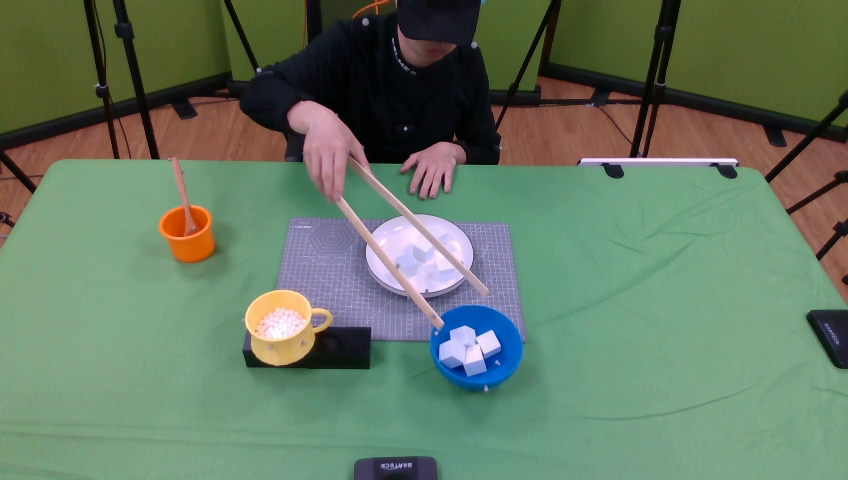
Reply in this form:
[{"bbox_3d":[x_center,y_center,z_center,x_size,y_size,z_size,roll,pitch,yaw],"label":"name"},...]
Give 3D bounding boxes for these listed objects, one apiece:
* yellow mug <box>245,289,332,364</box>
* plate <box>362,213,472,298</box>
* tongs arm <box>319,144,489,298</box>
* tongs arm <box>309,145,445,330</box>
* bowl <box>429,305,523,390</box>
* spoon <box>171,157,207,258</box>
[{"bbox_3d":[-0.210,0.133,0.954,0.131,0.064,0.099,-9,47,-14],"label":"yellow mug"},{"bbox_3d":[-0.014,0.034,1.150,0.208,0.039,0.206,3,46,-2],"label":"plate"},{"bbox_3d":[-0.037,-0.038,1.012,0.386,0.028,0.028,43,62,15],"label":"tongs arm"},{"bbox_3d":[-0.079,-0.012,0.983,0.051,0.026,0.383,-32,69,-29],"label":"tongs arm"},{"bbox_3d":[0.080,0.188,0.985,0.151,0.077,0.150,3,46,-3],"label":"bowl"},{"bbox_3d":[-0.444,-0.061,1.133,0.042,0.194,0.021,-12,4,-19],"label":"spoon"}]
